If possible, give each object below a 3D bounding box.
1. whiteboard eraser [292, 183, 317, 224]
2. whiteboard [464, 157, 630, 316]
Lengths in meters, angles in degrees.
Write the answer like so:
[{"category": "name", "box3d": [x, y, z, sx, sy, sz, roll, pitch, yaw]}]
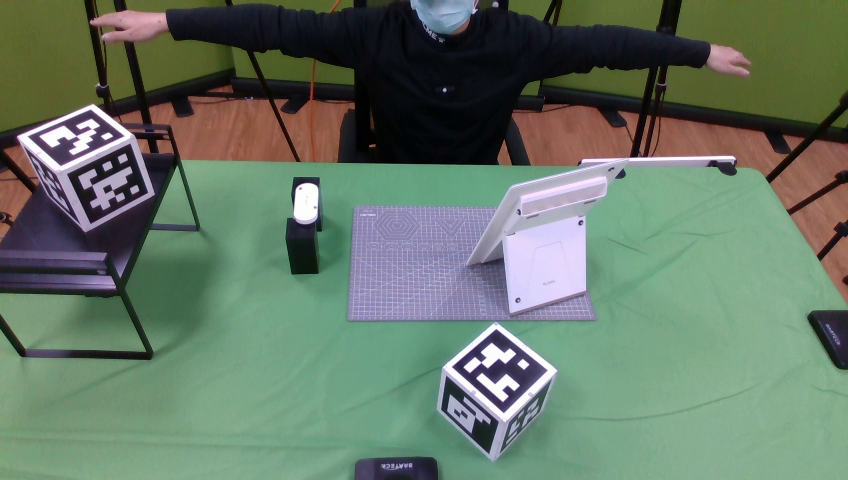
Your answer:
[{"category": "whiteboard eraser", "box3d": [-0.217, -0.068, 1.108, 0.041, 0.019, 0.100, -2, 46, -4]}, {"category": "whiteboard", "box3d": [0.224, 0.014, 1.043, 0.217, 0.306, 0.143, -14, 68, -17]}]
